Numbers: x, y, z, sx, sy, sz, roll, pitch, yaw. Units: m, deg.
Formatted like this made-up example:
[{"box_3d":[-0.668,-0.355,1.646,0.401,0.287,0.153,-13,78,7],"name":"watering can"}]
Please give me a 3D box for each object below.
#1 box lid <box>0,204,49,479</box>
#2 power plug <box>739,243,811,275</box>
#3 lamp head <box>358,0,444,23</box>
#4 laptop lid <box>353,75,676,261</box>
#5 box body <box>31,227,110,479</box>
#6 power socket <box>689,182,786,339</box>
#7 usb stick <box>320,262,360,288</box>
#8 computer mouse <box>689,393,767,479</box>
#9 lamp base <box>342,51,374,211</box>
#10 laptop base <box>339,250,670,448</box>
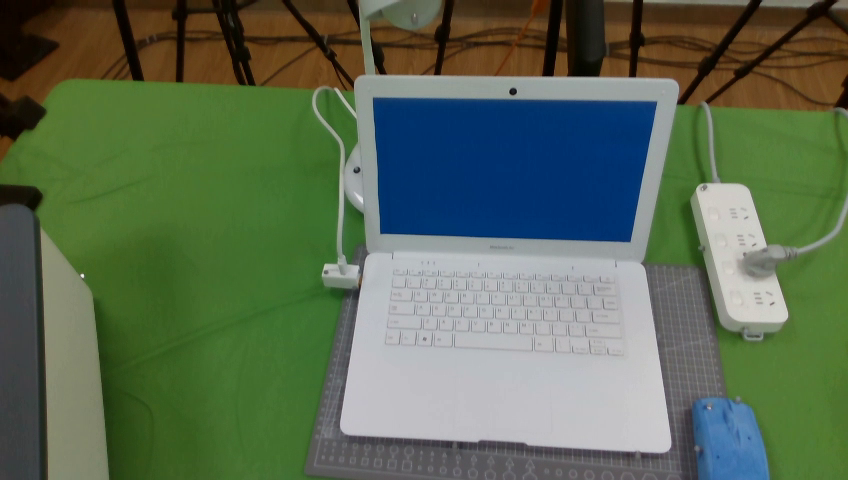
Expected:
[{"box_3d":[-0.482,0.132,0.548,0.263,0.015,0.367,-19,57,-11],"name":"box lid"},{"box_3d":[0.416,0.029,0.723,0.072,0.053,0.035,11,55,8],"name":"power plug"},{"box_3d":[-0.023,-0.272,0.551,0.112,0.112,0.123,-22,100,-12],"name":"lamp head"},{"box_3d":[0.097,-0.077,0.716,0.356,0.243,0.013,0,31,5],"name":"laptop lid"},{"box_3d":[-0.478,0.177,0.607,0.254,0.162,0.360,-19,56,-11],"name":"box body"},{"box_3d":[0.389,0.016,0.762,0.072,0.033,0.224,2,55,3],"name":"power socket"},{"box_3d":[-0.098,0.044,0.756,0.059,0.027,0.021,6,50,4],"name":"usb stick"},{"box_3d":[0.311,0.211,0.621,0.062,0.041,0.116,6,52,8],"name":"computer mouse"},{"box_3d":[-0.048,-0.146,0.807,0.161,0.182,0.177,-29,55,-17],"name":"lamp base"},{"box_3d":[0.090,0.119,0.711,0.354,0.023,0.233,2,58,4],"name":"laptop base"}]
